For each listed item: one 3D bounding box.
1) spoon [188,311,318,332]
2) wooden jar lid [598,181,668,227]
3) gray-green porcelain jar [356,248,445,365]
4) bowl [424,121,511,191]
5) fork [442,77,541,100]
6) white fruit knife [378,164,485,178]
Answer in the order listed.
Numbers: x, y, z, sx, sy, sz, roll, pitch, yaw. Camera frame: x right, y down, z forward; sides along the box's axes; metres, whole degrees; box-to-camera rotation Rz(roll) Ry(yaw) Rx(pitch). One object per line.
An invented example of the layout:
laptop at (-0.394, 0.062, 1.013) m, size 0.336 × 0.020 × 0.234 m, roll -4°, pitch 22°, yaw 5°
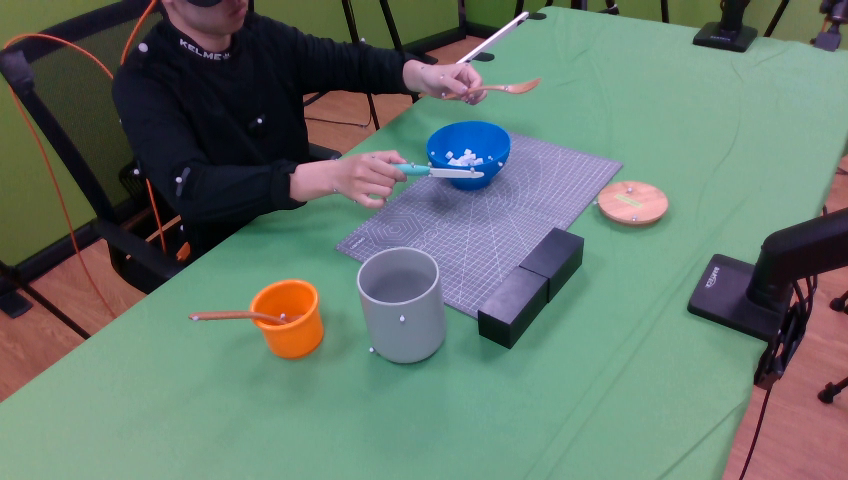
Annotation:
spoon at (-0.216, 0.102, 0.783) m, size 0.041 × 0.195 × 0.021 m, roll 26°, pitch 95°, yaw 39°
wooden jar lid at (0.340, -0.058, 0.988) m, size 0.108 × 0.021 × 0.108 m, roll -5°, pitch 41°, yaw 5°
gray-green porcelain jar at (-0.027, 0.091, 0.786) m, size 0.106 × 0.127 × 0.105 m, roll -4°, pitch 40°, yaw 4°
bowl at (0.080, -0.140, 1.074) m, size 0.151 × 0.077 × 0.150 m, roll -4°, pitch 40°, yaw 4°
fork at (0.112, -0.260, 1.050) m, size 0.206 × 0.019 × 0.028 m, roll 4°, pitch 62°, yaw 38°
white fruit knife at (0.006, -0.106, 0.935) m, size 0.206 × 0.028 × 0.016 m, roll 6°, pitch 65°, yaw 35°
